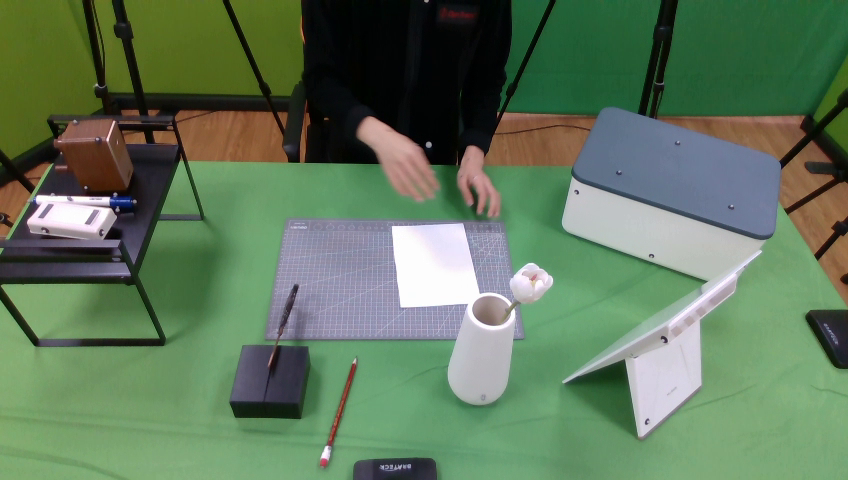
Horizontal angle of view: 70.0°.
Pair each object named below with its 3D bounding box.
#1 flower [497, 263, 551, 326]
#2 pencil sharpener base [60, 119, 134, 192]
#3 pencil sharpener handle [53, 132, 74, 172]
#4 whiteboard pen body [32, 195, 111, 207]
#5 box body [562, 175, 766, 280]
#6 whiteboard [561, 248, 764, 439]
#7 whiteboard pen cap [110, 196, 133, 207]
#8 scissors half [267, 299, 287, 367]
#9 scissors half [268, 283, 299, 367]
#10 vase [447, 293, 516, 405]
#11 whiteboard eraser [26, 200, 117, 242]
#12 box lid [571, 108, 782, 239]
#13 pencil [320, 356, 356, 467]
[{"bbox_3d":[0.103,0.121,0.853,0.044,0.363,0.038,-1,64,-9],"label":"flower"},{"bbox_3d":[-0.528,-0.135,0.979,0.077,0.107,0.061,-4,47,-7],"label":"pencil sharpener base"},{"bbox_3d":[-0.578,-0.138,0.961,0.031,0.068,0.036,-4,34,-7],"label":"pencil sharpener handle"},{"bbox_3d":[-0.543,-0.061,0.961,0.141,0.017,0.017,1,46,-10],"label":"whiteboard pen body"},{"bbox_3d":[0.486,-0.088,1.222,0.363,0.161,0.253,20,48,15],"label":"box body"},{"bbox_3d":[0.386,0.176,0.905,0.217,0.306,0.143,-26,72,-27],"label":"whiteboard"},{"bbox_3d":[-0.486,-0.061,0.972,0.033,0.018,0.018,0,46,-9],"label":"whiteboard pen cap"},{"bbox_3d":[-0.239,0.150,0.997,0.013,0.040,0.174,24,24,-13],"label":"scissors half"},{"bbox_3d":[-0.230,0.135,0.986,0.013,0.040,0.174,19,43,-11],"label":"scissors half"},{"bbox_3d":[0.091,0.169,0.921,0.098,0.201,0.097,3,47,-3],"label":"vase"},{"bbox_3d":[-0.532,-0.026,0.919,0.113,0.042,0.055,7,45,3],"label":"whiteboard eraser"},{"bbox_3d":[0.491,-0.139,1.168,0.370,0.015,0.262,21,49,15],"label":"box lid"},{"bbox_3d":[-0.130,0.261,0.946,0.012,0.012,0.193,10,45,5],"label":"pencil"}]
